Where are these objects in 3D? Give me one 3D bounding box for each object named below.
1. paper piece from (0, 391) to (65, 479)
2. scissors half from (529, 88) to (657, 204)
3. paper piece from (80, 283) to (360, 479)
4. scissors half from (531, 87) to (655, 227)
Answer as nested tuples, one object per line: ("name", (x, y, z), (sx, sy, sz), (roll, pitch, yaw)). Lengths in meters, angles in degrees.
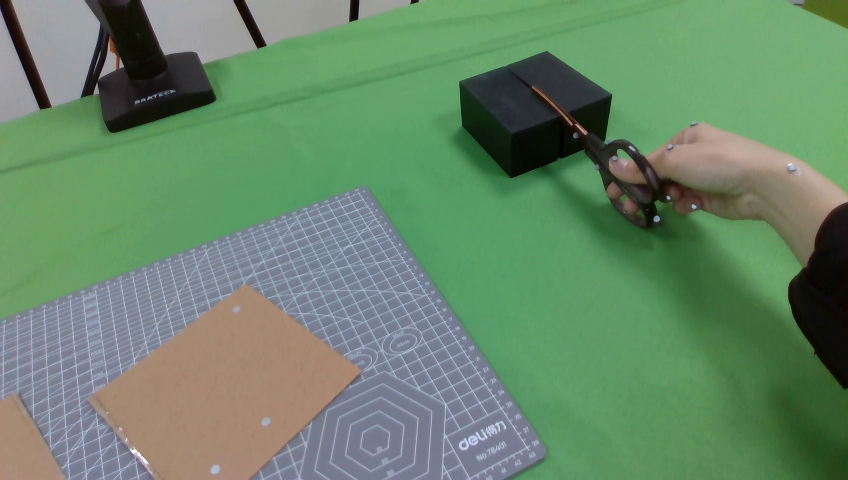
("paper piece", (-0.290, 0.172, 0.360), (0.135, 0.004, 0.134), (-36, 52, -27))
("scissors half", (0.134, -0.088, 0.506), (0.013, 0.040, 0.173), (-30, 46, -5))
("paper piece", (-0.139, 0.100, 0.417), (0.135, 0.009, 0.138), (33, 56, 28))
("scissors half", (0.138, -0.076, 0.522), (0.013, 0.040, 0.173), (-26, 62, -9))
